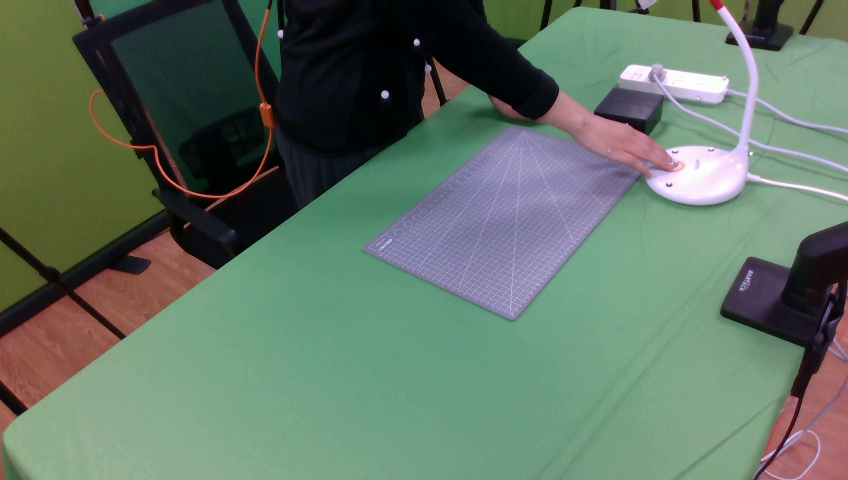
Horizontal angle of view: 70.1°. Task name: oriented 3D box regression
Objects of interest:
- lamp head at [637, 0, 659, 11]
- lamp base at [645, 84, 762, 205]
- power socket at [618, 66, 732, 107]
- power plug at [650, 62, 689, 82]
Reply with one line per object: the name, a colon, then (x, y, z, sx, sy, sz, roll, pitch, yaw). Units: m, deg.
lamp head: (0.330, -0.391, 0.827, 0.122, 0.113, 0.112, -21, 35, 25)
lamp base: (0.461, -0.170, 0.975, 0.179, 0.181, 0.160, 3, 41, 11)
power socket: (0.517, -0.322, 1.259, 0.225, 0.033, 0.072, 19, 49, 29)
power plug: (0.504, -0.340, 1.248, 0.072, 0.053, 0.035, 8, 59, 12)
